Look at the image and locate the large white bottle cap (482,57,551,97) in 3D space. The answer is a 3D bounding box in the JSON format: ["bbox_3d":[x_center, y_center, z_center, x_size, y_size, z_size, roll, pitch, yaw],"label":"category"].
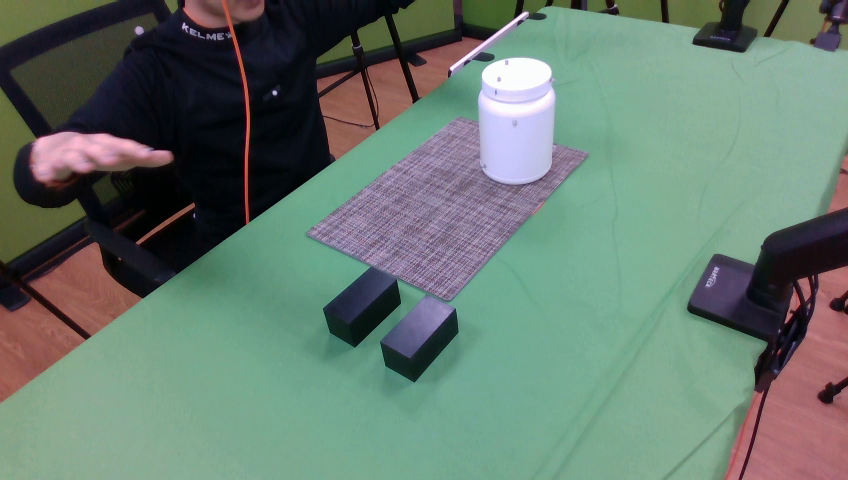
[{"bbox_3d":[0.153,-0.270,0.999,0.115,0.018,0.114,-3,41,3],"label":"large white bottle cap"}]

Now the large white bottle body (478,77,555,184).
[{"bbox_3d":[0.161,-0.206,1.054,0.130,0.185,0.130,-4,41,4],"label":"large white bottle body"}]
